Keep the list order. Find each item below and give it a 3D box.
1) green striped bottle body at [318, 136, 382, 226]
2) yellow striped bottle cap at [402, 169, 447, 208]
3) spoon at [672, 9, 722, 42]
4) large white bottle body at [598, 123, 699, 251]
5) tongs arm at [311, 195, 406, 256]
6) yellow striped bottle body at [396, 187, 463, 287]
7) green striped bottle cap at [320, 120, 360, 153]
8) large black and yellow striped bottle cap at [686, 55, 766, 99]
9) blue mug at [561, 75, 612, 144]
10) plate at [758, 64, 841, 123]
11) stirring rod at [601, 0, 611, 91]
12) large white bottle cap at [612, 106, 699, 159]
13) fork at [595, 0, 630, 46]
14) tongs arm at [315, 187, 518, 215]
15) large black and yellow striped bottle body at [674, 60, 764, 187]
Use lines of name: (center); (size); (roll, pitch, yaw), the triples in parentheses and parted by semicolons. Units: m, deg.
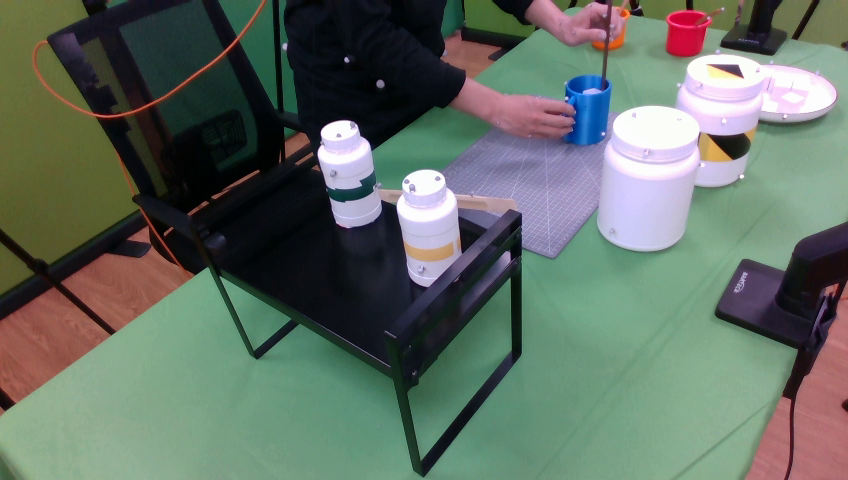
green striped bottle body: (-0.090, -0.080, 0.733); (0.063, 0.120, 0.063); (-5, 41, 4)
yellow striped bottle cap: (0.000, -0.052, 0.604); (0.044, 0.019, 0.044); (-5, 43, 5)
spoon: (0.606, -0.476, 1.345); (0.042, 0.021, 0.193); (-6, -3, -2)
large white bottle body: (0.334, -0.090, 0.906); (0.130, 0.185, 0.130); (-5, 41, 5)
tongs arm: (-0.078, -0.013, 0.944); (0.028, 0.028, 0.384); (-42, 39, -23)
yellow striped bottle body: (0.006, -0.013, 0.638); (0.063, 0.121, 0.062); (-5, 41, 4)
green striped bottle cap: (-0.097, -0.120, 0.699); (0.044, 0.020, 0.044); (-3, 41, 3)
large black and yellow striped bottle cap: (0.474, -0.258, 0.952); (0.115, 0.019, 0.114); (-5, 41, 5)
blue mug: (0.298, -0.240, 1.143); (0.117, 0.106, 0.081); (-34, 47, -27)
plate: (0.695, -0.283, 1.189); (0.207, 0.039, 0.206); (-4, 40, 4)
stirring rod: (0.324, -0.343, 1.076); (0.006, 0.177, 0.014); (-8, 42, 3)
large white bottle cap: (0.325, -0.153, 0.850); (0.115, 0.018, 0.114); (-4, 41, 4)
fork: (0.480, -0.556, 1.453); (0.028, 0.019, 0.207); (41, 104, 41)
tongs arm: (-0.028, -0.060, 0.988); (0.382, 0.027, 0.051); (10, 45, 36)
large black and yellow striped bottle body: (0.482, -0.196, 1.008); (0.131, 0.185, 0.130); (-4, 41, 4)
